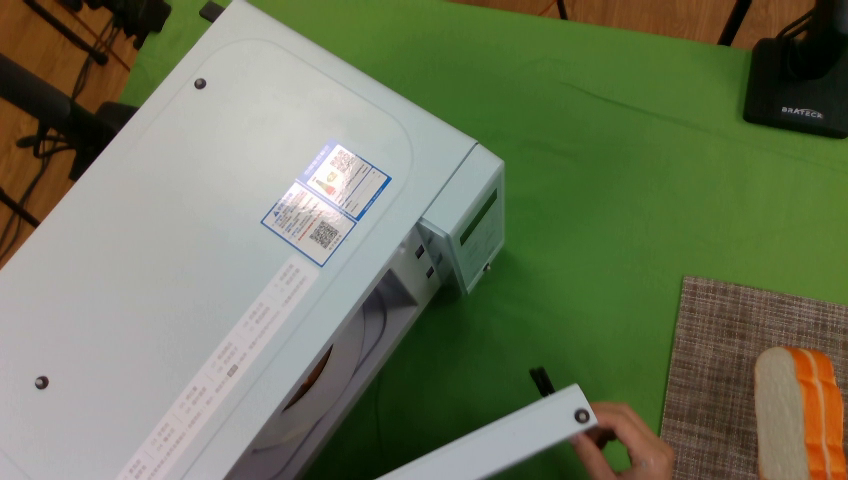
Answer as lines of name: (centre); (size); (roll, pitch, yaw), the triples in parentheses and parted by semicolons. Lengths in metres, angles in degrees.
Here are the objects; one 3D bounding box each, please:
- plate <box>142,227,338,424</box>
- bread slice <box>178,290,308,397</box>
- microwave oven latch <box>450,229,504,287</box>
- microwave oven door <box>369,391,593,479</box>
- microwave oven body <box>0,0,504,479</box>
plate: (-0.193, 0.090, 0.650); (0.207, 0.039, 0.206); (-1, 75, 4)
bread slice: (-0.193, 0.117, 0.648); (0.134, 0.018, 0.106); (-10, 73, -5)
microwave oven latch: (0.060, 0.013, 0.687); (0.030, 0.030, 0.079); (36, 82, 15)
microwave oven door: (-0.030, 0.221, 0.535); (0.356, 0.245, 0.039); (-26, 71, 0)
microwave oven body: (-0.175, 0.048, 0.606); (0.324, 0.262, 0.441); (34, 82, 14)
